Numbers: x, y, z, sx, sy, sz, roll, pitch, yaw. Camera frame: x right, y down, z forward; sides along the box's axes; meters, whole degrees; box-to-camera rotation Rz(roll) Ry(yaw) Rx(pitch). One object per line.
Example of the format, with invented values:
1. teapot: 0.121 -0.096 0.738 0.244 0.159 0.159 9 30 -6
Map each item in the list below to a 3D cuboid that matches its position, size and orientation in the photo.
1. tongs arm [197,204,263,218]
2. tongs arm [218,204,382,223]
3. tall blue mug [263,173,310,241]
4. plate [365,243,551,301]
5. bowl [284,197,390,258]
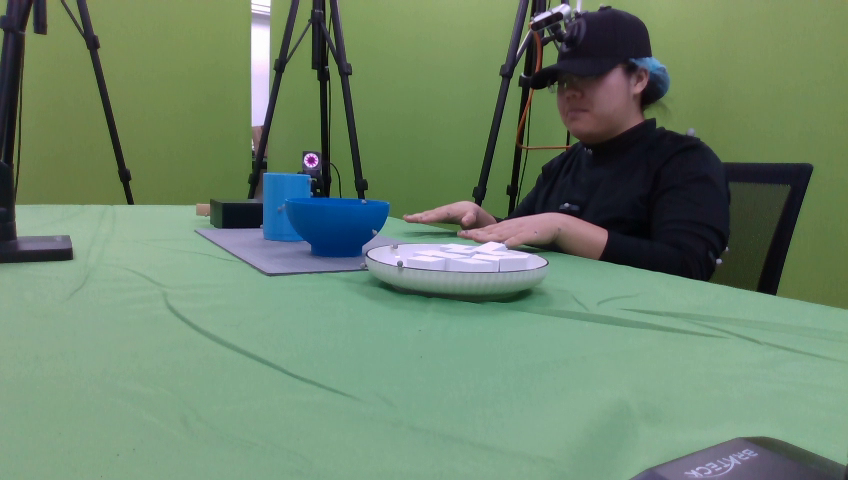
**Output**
1. tongs arm: -0.282 -0.057 1.301 0.386 0.026 0.050 2 1 -7
2. tongs arm: -0.285 -0.061 1.382 0.387 0.027 0.028 3 -2 6
3. tall blue mug: -0.233 -0.058 1.019 0.078 0.108 0.107 -1 8 -19
4. plate: 0.038 0.035 0.685 0.209 0.038 0.209 2 7 0
5. bowl: -0.125 -0.019 0.870 0.151 0.077 0.151 2 7 0
